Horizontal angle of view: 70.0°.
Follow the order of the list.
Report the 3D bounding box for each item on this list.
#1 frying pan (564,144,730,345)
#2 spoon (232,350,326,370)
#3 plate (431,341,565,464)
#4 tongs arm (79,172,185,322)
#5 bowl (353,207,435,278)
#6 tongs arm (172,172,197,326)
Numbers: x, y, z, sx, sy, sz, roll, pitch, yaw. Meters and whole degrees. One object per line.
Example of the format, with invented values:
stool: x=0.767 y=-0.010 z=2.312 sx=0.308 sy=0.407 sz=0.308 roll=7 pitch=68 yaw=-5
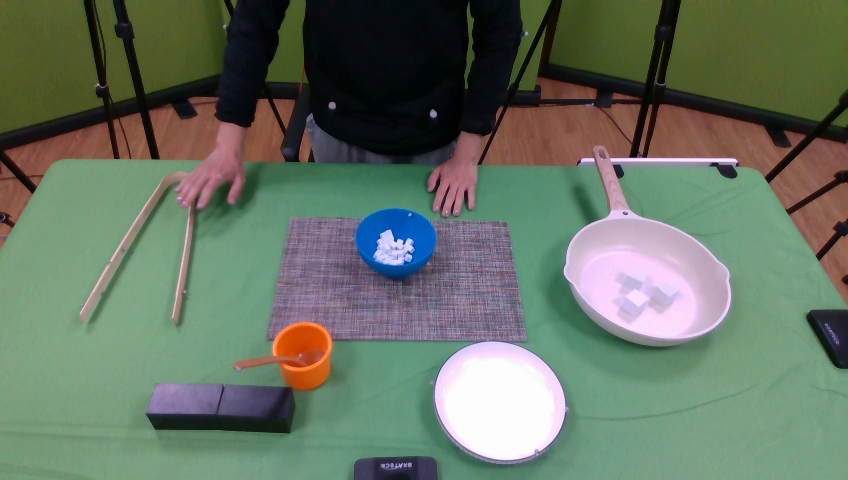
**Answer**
frying pan: x=0.396 y=-0.008 z=1.179 sx=0.307 sy=0.103 sz=0.484 roll=0 pitch=55 yaw=-5
spoon: x=-0.216 y=0.182 z=0.919 sx=0.041 sy=0.194 sz=0.021 roll=42 pitch=101 yaw=28
plate: x=0.114 y=0.255 z=0.952 sx=0.208 sy=0.039 sz=0.206 roll=3 pitch=46 yaw=-2
tongs arm: x=-0.540 y=-0.002 z=1.147 sx=0.051 sy=0.026 sz=0.382 roll=5 pitch=45 yaw=-1
bowl: x=-0.056 y=0.018 z=1.132 sx=0.151 sy=0.077 sz=0.150 roll=2 pitch=46 yaw=-2
tongs arm: x=-0.459 y=0.003 z=1.155 sx=0.028 sy=0.028 sz=0.385 roll=-7 pitch=47 yaw=-8
